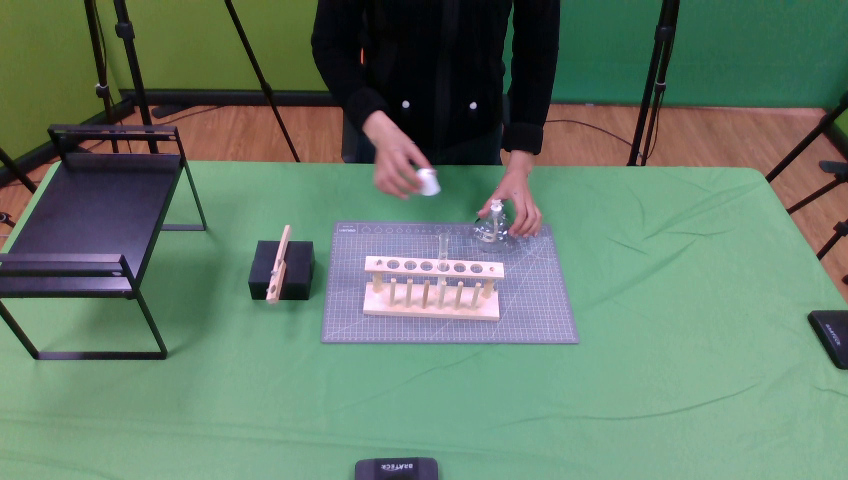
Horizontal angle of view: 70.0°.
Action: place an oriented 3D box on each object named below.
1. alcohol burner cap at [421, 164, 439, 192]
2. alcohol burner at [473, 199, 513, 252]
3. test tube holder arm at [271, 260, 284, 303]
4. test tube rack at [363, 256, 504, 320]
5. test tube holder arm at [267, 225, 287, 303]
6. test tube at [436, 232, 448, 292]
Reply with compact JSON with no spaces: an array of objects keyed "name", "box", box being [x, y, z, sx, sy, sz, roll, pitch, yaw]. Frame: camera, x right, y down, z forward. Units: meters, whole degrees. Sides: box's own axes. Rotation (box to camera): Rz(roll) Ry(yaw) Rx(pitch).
[{"name":"alcohol burner cap","box":[0.012,-0.112,1.069,0.034,0.048,0.033,3,47,-3]},{"name":"alcohol burner","box":[0.135,-0.034,1.174,0.078,0.120,0.077,1,47,-1]},{"name":"test tube holder arm","box":[-0.252,0.071,1.045,0.010,0.015,0.087,-4,46,2]},{"name":"test tube rack","box":[0.015,0.085,1.069,0.242,0.085,0.066,3,46,-2]},{"name":"test tube holder arm","box":[-0.260,0.039,1.077,0.013,0.015,0.177,-5,46,1]},{"name":"test tube","box":[0.030,0.042,1.042,0.017,0.151,0.017,1,48,-1]}]
